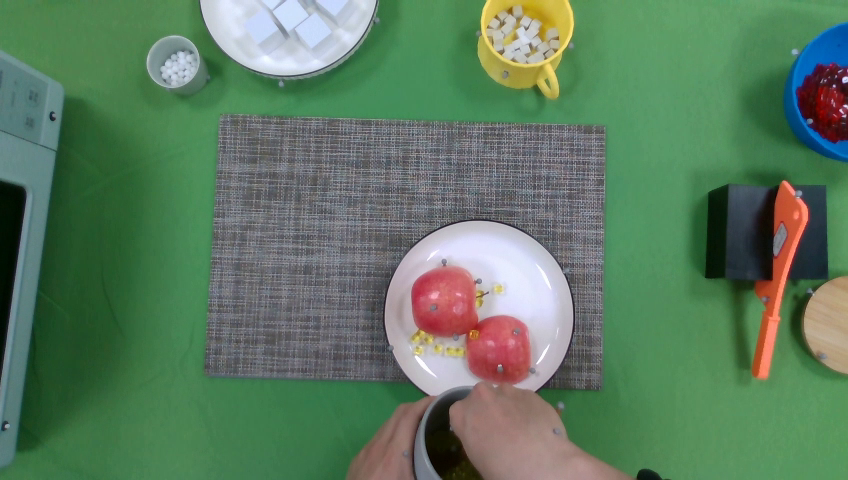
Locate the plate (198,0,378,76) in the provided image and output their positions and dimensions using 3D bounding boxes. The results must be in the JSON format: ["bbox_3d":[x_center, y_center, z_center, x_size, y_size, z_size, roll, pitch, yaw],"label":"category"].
[{"bbox_3d":[-0.154,-0.289,0.705,0.207,0.039,0.207,0,86,2],"label":"plate"}]

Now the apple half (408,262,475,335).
[{"bbox_3d":[0.018,0.064,0.656,0.074,0.053,0.080,-1,86,4],"label":"apple half"}]

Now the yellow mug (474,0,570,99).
[{"bbox_3d":[0.115,-0.219,0.680,0.100,0.064,0.130,-27,86,-1],"label":"yellow mug"}]

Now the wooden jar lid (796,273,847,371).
[{"bbox_3d":[0.465,0.090,0.671,0.108,0.021,0.108,0,86,3],"label":"wooden jar lid"}]

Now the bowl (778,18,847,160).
[{"bbox_3d":[0.451,-0.154,0.660,0.151,0.077,0.151,0,86,2],"label":"bowl"}]

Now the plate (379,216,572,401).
[{"bbox_3d":[0.055,0.078,0.669,0.209,0.038,0.208,0,86,1],"label":"plate"}]

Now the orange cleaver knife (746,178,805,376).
[{"bbox_3d":[0.366,0.042,0.647,0.012,0.077,0.212,3,110,5],"label":"orange cleaver knife"}]

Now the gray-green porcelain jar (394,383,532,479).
[{"bbox_3d":[0.031,0.211,0.571,0.106,0.127,0.105,9,48,-10],"label":"gray-green porcelain jar"}]

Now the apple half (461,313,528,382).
[{"bbox_3d":[0.078,0.118,0.660,0.081,0.033,0.081,0,82,2],"label":"apple half"}]

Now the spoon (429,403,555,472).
[{"bbox_3d":[0.052,0.179,0.547,0.042,0.194,0.021,-4,59,-36],"label":"spoon"}]

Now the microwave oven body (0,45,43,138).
[{"bbox_3d":[-0.603,0.001,0.579,0.326,0.260,0.441,5,86,1],"label":"microwave oven body"}]

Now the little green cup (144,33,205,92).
[{"bbox_3d":[-0.285,-0.202,0.700,0.061,0.038,0.061,0,86,0],"label":"little green cup"}]

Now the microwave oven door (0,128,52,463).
[{"bbox_3d":[-0.462,0.056,0.567,0.039,0.244,0.355,5,86,2],"label":"microwave oven door"}]

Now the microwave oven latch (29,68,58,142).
[{"bbox_3d":[-0.437,-0.153,0.683,0.030,0.029,0.079,8,87,1],"label":"microwave oven latch"}]
